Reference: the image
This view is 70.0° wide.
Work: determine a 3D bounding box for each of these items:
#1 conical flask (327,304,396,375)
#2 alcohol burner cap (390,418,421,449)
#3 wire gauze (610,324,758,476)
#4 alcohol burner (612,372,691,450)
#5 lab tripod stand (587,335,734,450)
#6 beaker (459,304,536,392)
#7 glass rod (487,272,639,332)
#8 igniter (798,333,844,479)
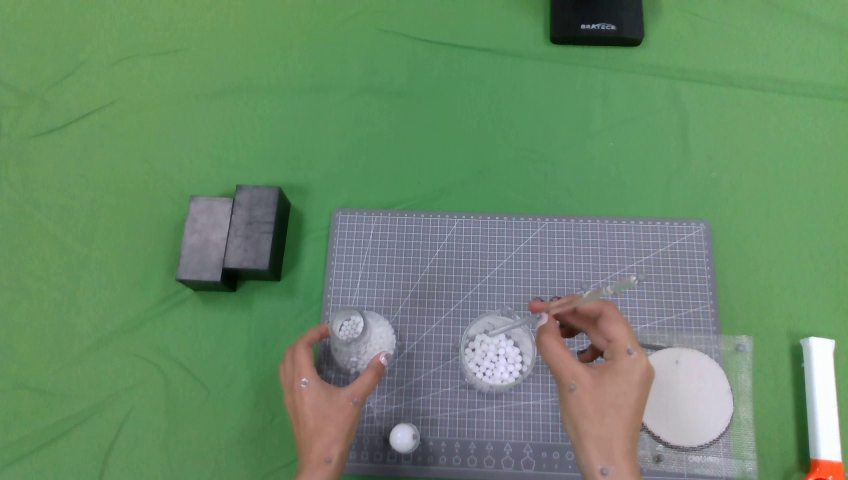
[{"bbox_3d":[-0.071,0.097,0.628,0.075,0.122,0.075,-1,72,2],"label":"conical flask"},{"bbox_3d":[-0.021,0.204,0.636,0.034,0.048,0.033,-1,74,2],"label":"alcohol burner cap"},{"bbox_3d":[0.227,0.137,0.530,0.125,0.011,0.121,4,74,4],"label":"wire gauze"},{"bbox_3d":[0.230,0.169,0.601,0.078,0.120,0.077,-1,72,4],"label":"alcohol burner"},{"bbox_3d":[0.228,0.159,0.594,0.148,0.132,0.147,0,74,2],"label":"lab tripod stand"},{"bbox_3d":[0.073,0.116,0.630,0.074,0.101,0.083,13,72,6],"label":"beaker"},{"bbox_3d":[0.099,0.053,0.475,0.008,0.200,0.008,8,69,-21],"label":"glass rod"},{"bbox_3d":[0.412,0.234,0.623,0.057,0.025,0.275,9,73,-7],"label":"igniter"}]
